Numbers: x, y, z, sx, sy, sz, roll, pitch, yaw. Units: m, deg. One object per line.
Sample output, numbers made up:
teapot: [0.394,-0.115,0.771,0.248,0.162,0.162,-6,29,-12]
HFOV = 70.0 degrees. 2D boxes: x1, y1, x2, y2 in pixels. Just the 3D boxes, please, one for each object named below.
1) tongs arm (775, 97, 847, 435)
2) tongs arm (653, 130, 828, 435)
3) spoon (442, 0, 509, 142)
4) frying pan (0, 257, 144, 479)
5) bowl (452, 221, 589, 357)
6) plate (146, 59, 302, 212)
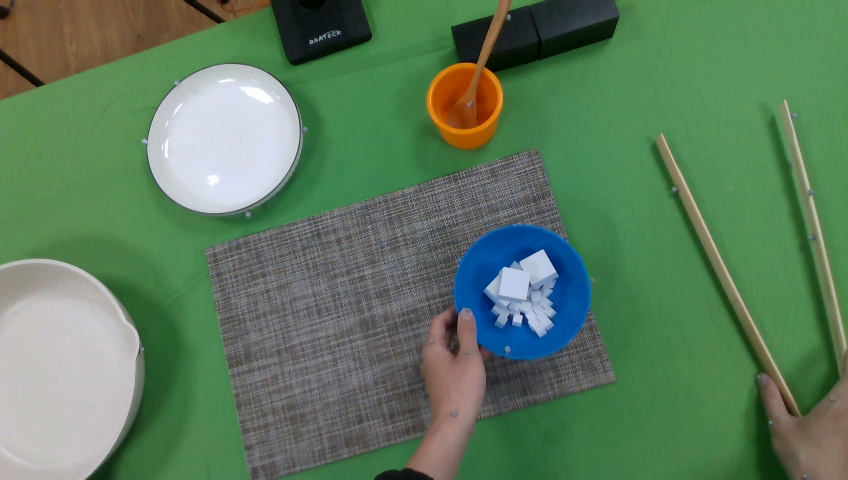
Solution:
tongs arm: [0.434,0.022,0.696,0.051,0.026,0.383,-9,80,5]
tongs arm: [0.356,0.042,0.704,0.028,0.028,0.385,-22,78,-1]
spoon: [0.064,-0.203,0.722,0.041,0.195,0.021,33,40,15]
frying pan: [-0.448,0.260,0.709,0.307,0.103,0.484,-19,69,3]
bowl: [0.109,0.060,0.697,0.151,0.077,0.150,-1,79,6]
plate: [-0.258,-0.135,0.799,0.207,0.039,0.206,-1,79,6]
